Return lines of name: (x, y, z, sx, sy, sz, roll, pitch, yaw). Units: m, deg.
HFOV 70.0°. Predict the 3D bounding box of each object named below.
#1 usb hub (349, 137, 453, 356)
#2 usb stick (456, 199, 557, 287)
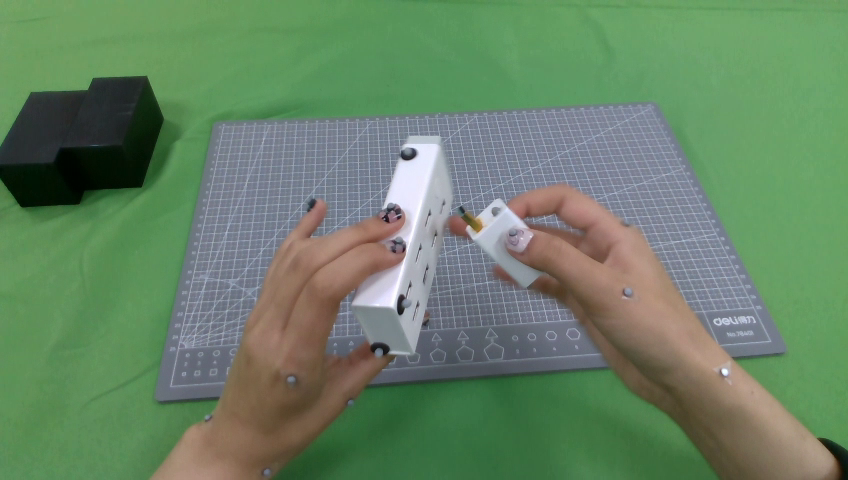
usb hub: (-0.009, 0.000, 0.344, 0.025, 0.050, 0.124, 2, 51, 17)
usb stick: (0.044, -0.002, 0.333, 0.059, 0.027, 0.021, 38, 12, -20)
